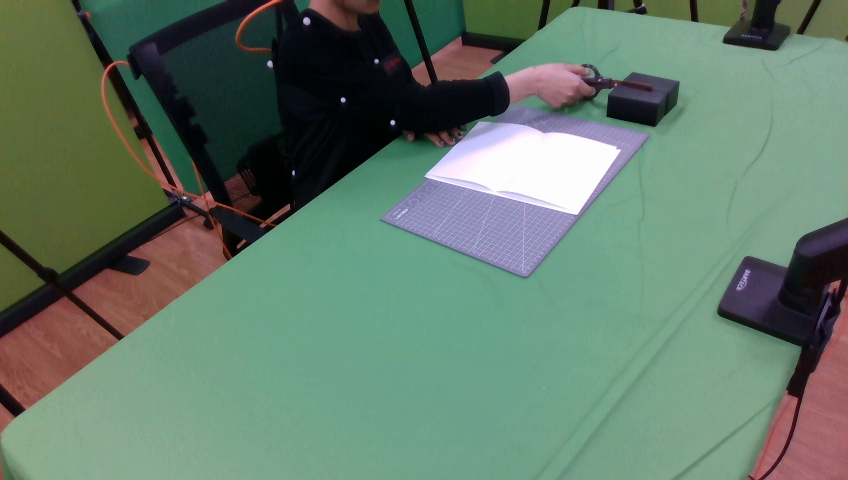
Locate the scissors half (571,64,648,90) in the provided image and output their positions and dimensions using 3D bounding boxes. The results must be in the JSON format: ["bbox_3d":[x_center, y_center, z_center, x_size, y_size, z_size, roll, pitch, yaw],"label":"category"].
[{"bbox_3d":[0.378,-0.327,1.229,0.174,0.040,0.013,25,49,33],"label":"scissors half"}]

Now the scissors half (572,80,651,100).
[{"bbox_3d":[0.382,-0.310,1.239,0.174,0.040,0.013,9,33,45],"label":"scissors half"}]
